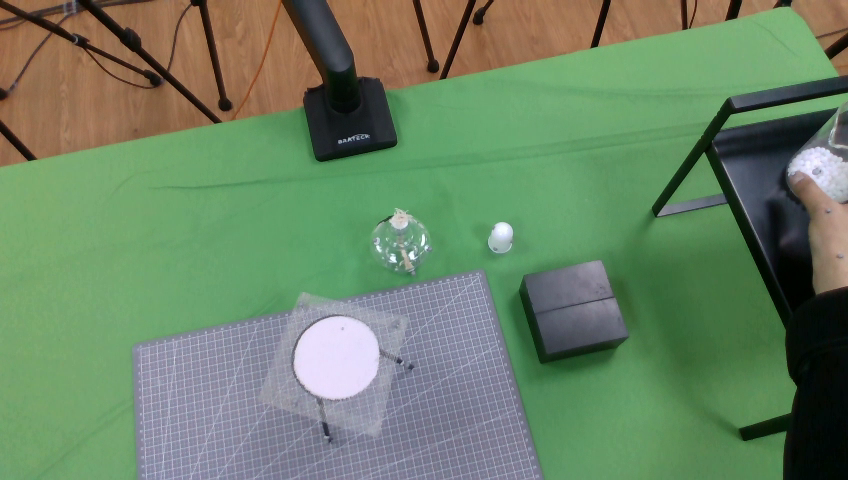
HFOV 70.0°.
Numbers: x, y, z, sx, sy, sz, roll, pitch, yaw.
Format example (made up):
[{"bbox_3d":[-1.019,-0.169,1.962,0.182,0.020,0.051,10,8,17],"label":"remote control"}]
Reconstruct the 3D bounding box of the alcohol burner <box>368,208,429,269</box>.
[{"bbox_3d":[-0.032,-0.009,0.752,0.078,0.120,0.077,1,66,-1],"label":"alcohol burner"}]

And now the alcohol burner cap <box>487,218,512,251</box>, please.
[{"bbox_3d":[0.100,-0.009,0.791,0.034,0.048,0.033,0,66,1],"label":"alcohol burner cap"}]

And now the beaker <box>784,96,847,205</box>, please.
[{"bbox_3d":[0.410,-0.084,0.595,0.084,0.101,0.073,-16,67,-6],"label":"beaker"}]

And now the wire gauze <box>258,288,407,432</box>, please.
[{"bbox_3d":[-0.089,0.117,0.611,0.125,0.011,0.121,15,67,6],"label":"wire gauze"}]

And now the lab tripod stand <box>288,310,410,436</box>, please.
[{"bbox_3d":[-0.089,0.138,0.675,0.148,0.132,0.147,0,65,0],"label":"lab tripod stand"}]
